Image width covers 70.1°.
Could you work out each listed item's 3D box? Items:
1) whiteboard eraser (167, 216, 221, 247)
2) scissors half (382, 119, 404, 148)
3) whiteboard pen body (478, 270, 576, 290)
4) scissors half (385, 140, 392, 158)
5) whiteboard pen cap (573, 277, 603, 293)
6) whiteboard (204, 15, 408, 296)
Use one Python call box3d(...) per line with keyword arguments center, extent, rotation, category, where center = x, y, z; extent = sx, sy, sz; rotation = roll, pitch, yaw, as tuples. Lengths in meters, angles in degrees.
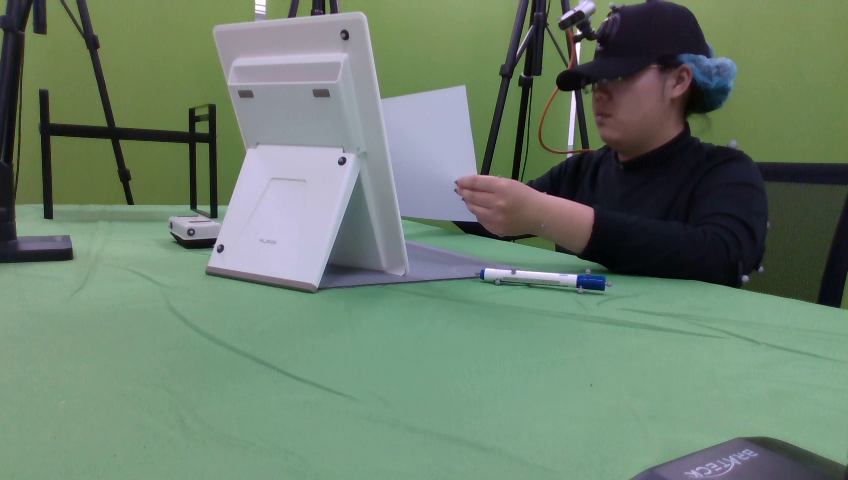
box3d(center=(-0.350, -0.014, 0.920), extent=(0.056, 0.042, 0.112), rotation=(0, 7, -35), category="whiteboard eraser")
box3d(center=(-0.104, -0.236, 1.122), extent=(0.176, 0.040, 0.012), rotation=(37, 6, -20), category="scissors half")
box3d(center=(0.132, 0.047, 0.706), extent=(0.140, 0.017, 0.017), rotation=(4, 7, 18), category="whiteboard pen body")
box3d(center=(-0.118, -0.222, 1.122), extent=(0.040, 0.175, 0.013), rotation=(-37, 19, -5), category="scissors half")
box3d(center=(0.186, 0.051, 0.687), extent=(0.033, 0.018, 0.018), rotation=(4, 8, 17), category="whiteboard pen cap")
box3d(center=(-0.166, -0.072, 0.669), extent=(0.216, 0.305, 0.144), rotation=(8, 30, 30), category="whiteboard")
